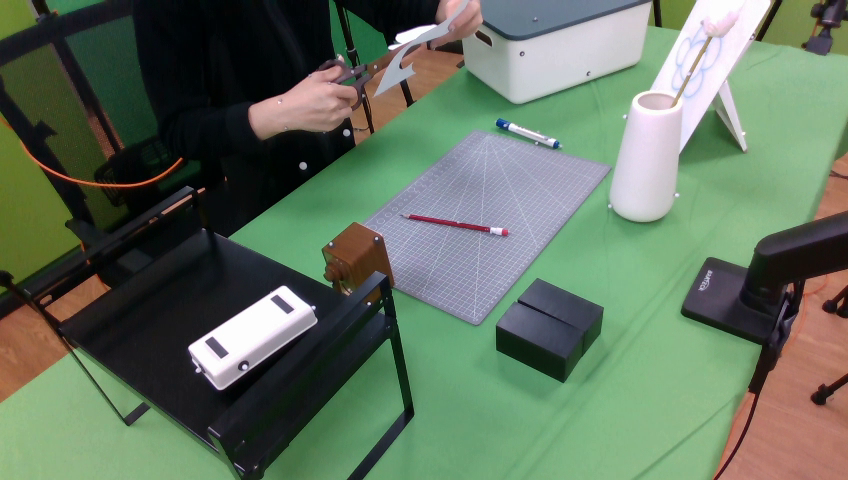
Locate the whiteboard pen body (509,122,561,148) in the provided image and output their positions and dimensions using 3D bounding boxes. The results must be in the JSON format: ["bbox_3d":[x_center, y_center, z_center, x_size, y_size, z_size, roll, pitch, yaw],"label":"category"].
[{"bbox_3d":[0.209,-0.212,1.195,0.139,0.017,0.017,30,52,33],"label":"whiteboard pen body"}]

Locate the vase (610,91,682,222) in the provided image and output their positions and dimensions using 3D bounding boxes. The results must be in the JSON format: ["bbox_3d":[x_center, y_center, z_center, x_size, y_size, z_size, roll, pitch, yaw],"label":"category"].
[{"bbox_3d":[0.348,-0.125,0.935,0.098,0.201,0.097,-3,40,3],"label":"vase"}]

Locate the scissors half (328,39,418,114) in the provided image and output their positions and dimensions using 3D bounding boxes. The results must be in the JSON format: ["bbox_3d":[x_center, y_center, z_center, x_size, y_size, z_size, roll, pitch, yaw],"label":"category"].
[{"bbox_3d":[-0.076,-0.246,0.907,0.174,0.040,0.013,-36,15,24],"label":"scissors half"}]

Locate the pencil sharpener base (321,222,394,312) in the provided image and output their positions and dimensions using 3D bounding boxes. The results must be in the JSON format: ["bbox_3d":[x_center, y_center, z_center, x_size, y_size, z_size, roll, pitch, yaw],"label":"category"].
[{"bbox_3d":[-0.096,0.041,0.873,0.061,0.107,0.077,26,54,32],"label":"pencil sharpener base"}]

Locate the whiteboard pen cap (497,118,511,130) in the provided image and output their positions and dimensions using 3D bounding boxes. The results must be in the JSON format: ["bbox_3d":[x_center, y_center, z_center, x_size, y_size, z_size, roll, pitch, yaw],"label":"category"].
[{"bbox_3d":[0.165,-0.235,1.227,0.033,0.018,0.018,31,53,31],"label":"whiteboard pen cap"}]

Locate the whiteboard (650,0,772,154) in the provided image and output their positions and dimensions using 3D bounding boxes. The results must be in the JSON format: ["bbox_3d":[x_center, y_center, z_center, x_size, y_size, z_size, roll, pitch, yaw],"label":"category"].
[{"bbox_3d":[0.543,-0.298,1.076,0.144,0.305,0.216,12,40,-7],"label":"whiteboard"}]

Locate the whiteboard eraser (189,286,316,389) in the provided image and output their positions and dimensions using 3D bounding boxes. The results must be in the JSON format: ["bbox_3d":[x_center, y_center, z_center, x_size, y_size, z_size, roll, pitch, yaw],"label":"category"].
[{"bbox_3d":[-0.166,0.096,0.593,0.113,0.042,0.055,-36,47,-29],"label":"whiteboard eraser"}]

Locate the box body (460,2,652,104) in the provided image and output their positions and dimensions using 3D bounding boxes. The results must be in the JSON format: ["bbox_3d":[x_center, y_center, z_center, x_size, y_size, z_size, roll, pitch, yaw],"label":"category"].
[{"bbox_3d":[0.291,-0.465,1.371,0.365,0.161,0.252,-22,42,-16],"label":"box body"}]

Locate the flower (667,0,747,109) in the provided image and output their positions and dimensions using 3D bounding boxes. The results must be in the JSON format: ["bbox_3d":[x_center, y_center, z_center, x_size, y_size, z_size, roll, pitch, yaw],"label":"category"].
[{"bbox_3d":[0.354,-0.187,0.879,0.038,0.362,0.044,30,48,14],"label":"flower"}]

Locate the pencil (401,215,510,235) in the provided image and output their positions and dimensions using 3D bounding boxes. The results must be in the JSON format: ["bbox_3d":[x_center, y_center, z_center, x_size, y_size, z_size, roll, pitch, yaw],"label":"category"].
[{"bbox_3d":[0.049,-0.027,1.007,0.193,0.012,0.012,10,43,21],"label":"pencil"}]

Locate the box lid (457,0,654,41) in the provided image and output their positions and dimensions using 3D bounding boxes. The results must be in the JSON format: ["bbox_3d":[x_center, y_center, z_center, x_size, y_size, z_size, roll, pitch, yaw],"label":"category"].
[{"bbox_3d":[0.285,-0.522,1.323,0.373,0.015,0.261,-22,43,-16],"label":"box lid"}]

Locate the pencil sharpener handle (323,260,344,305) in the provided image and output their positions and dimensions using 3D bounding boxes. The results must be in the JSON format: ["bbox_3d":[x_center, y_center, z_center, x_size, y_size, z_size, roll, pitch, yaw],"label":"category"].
[{"bbox_3d":[-0.131,0.062,0.839,0.035,0.068,0.031,29,55,28],"label":"pencil sharpener handle"}]

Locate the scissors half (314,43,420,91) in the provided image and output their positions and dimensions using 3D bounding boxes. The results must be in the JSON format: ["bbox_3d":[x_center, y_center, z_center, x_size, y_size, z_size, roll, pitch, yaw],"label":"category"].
[{"bbox_3d":[-0.087,-0.263,0.900,0.174,0.040,0.013,-13,27,15],"label":"scissors half"}]
